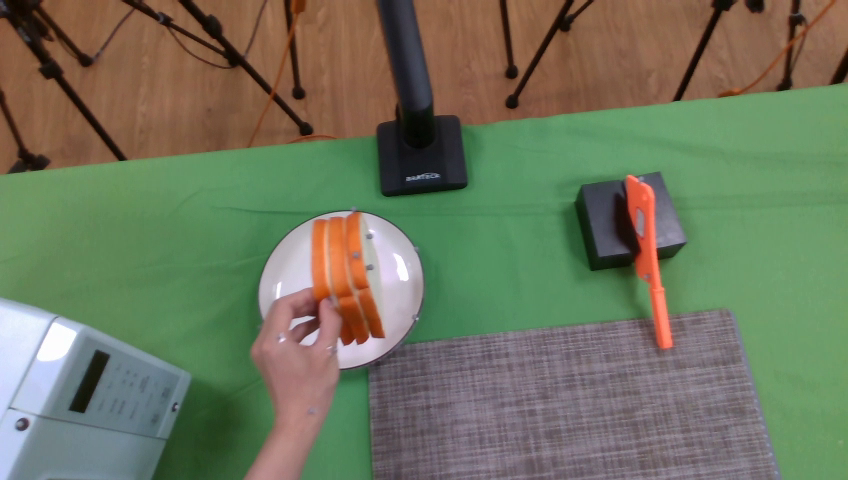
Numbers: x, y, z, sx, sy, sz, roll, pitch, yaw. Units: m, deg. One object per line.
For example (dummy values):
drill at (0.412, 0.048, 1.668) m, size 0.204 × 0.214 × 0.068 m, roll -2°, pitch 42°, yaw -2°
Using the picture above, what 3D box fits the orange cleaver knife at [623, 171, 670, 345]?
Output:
orange cleaver knife at (0.267, 0.021, 0.734) m, size 0.012 × 0.077 × 0.212 m, roll -12°, pitch 98°, yaw -2°

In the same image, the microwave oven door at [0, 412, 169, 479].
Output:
microwave oven door at (-0.361, 0.338, 0.534) m, size 0.039 × 0.245 × 0.354 m, roll 13°, pitch 70°, yaw 8°

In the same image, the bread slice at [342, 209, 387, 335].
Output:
bread slice at (-0.065, 0.033, 0.657) m, size 0.018 × 0.135 × 0.106 m, roll -12°, pitch 59°, yaw 1°

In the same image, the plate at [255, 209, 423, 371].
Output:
plate at (-0.104, 0.063, 0.761) m, size 0.207 × 0.039 × 0.206 m, roll -1°, pitch 69°, yaw 2°

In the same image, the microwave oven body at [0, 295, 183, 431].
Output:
microwave oven body at (-0.491, 0.270, 0.571) m, size 0.325 × 0.262 × 0.439 m, roll 13°, pitch 70°, yaw 7°

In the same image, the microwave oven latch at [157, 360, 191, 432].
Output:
microwave oven latch at (-0.298, 0.179, 0.703) m, size 0.030 × 0.030 × 0.079 m, roll 15°, pitch 71°, yaw 8°
